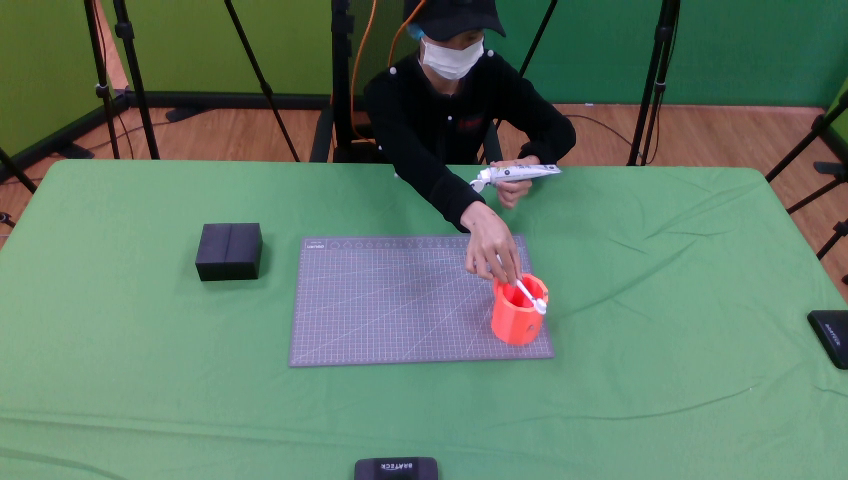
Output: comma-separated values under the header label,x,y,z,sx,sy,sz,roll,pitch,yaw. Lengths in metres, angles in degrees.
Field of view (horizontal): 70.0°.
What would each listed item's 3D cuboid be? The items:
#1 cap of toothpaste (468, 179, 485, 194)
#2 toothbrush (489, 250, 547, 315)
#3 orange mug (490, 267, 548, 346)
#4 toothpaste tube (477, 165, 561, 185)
label,x,y,z,sx,sy,sz,roll,pitch,yaw
cap of toothpaste,0.102,-0.107,1.192,0.037,0.037,0.011,-13,50,-17
toothbrush,0.152,0.064,0.998,0.014,0.017,0.180,-7,33,-22
orange mug,0.155,0.106,1.051,0.083,0.101,0.125,-15,53,-18
toothpaste tube,0.187,-0.134,1.210,0.165,0.034,0.055,-8,27,-4
